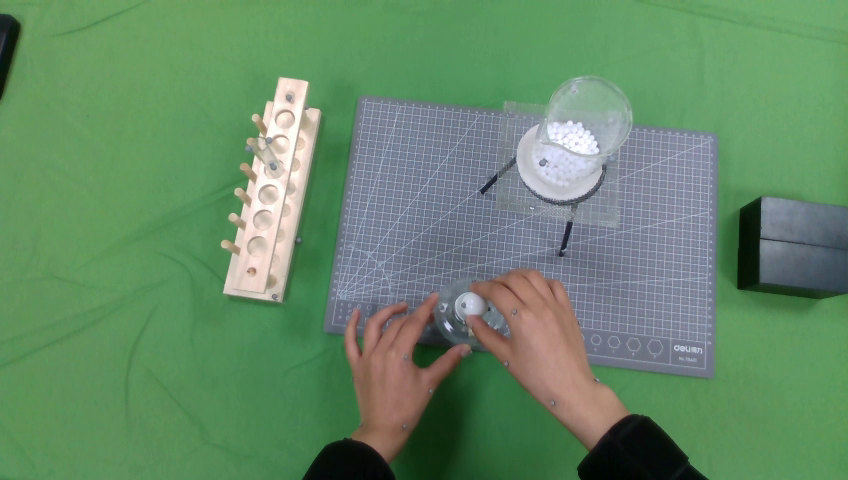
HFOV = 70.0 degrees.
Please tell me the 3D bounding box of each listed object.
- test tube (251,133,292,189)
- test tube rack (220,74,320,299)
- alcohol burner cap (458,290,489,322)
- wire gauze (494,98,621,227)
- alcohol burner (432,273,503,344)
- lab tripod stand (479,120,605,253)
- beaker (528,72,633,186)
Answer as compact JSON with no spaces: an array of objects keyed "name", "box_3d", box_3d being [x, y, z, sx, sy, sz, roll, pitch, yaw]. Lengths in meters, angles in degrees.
[{"name":"test tube","box_3d":[-0.160,-0.080,0.647,0.017,0.150,0.017,1,79,-2]},{"name":"test tube rack","box_3d":[-0.181,-0.061,0.693,0.067,0.085,0.241,9,78,2]},{"name":"alcohol burner cap","box_3d":[0.051,0.066,0.613,0.034,0.048,0.033,0,81,3]},{"name":"wire gauze","box_3d":[0.135,-0.080,0.605,0.125,0.011,0.121,8,78,-1]},{"name":"alcohol burner","box_3d":[0.048,0.072,0.650,0.078,0.119,0.077,1,78,-2]},{"name":"lab tripod stand","box_3d":[0.139,-0.069,0.670,0.148,0.132,0.147,0,76,0]},{"name":"beaker","box_3d":[0.136,-0.095,0.560,0.084,0.100,0.073,-27,79,-6]}]
